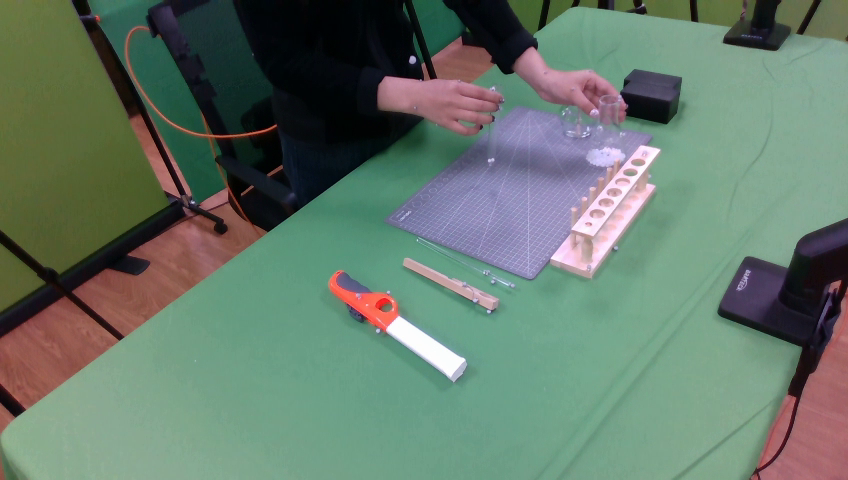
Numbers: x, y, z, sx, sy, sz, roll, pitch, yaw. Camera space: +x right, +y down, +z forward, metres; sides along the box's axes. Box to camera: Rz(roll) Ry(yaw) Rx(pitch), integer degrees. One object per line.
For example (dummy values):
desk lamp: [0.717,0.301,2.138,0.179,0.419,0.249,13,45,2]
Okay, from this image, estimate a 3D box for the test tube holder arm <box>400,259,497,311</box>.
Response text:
test tube holder arm: [0.033,0.064,0.902,0.177,0.015,0.013,23,13,32]

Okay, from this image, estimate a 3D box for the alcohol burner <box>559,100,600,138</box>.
alcohol burner: [0.298,-0.257,1.156,0.078,0.119,0.077,-4,39,4]

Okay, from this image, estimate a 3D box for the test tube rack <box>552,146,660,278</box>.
test tube rack: [0.286,-0.053,0.943,0.066,0.085,0.243,21,49,32]

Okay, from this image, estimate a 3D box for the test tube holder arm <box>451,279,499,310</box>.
test tube holder arm: [0.071,0.079,0.882,0.087,0.015,0.010,23,13,34]

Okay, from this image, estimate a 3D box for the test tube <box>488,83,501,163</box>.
test tube: [0.119,-0.194,1.021,0.017,0.151,0.017,-1,42,1]

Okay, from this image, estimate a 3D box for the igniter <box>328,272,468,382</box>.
igniter: [-0.048,0.114,0.854,0.274,0.025,0.057,29,63,37]

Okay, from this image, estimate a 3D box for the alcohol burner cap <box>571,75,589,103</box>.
alcohol burner cap: [0.294,-0.285,1.131,0.034,0.048,0.033,-4,46,5]

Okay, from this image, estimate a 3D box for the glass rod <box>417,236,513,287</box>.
glass rod: [0.059,0.032,0.944,0.198,0.008,0.008,27,52,37]

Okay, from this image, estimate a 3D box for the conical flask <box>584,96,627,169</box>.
conical flask: [0.323,-0.192,1.066,0.075,0.122,0.075,-6,40,5]
